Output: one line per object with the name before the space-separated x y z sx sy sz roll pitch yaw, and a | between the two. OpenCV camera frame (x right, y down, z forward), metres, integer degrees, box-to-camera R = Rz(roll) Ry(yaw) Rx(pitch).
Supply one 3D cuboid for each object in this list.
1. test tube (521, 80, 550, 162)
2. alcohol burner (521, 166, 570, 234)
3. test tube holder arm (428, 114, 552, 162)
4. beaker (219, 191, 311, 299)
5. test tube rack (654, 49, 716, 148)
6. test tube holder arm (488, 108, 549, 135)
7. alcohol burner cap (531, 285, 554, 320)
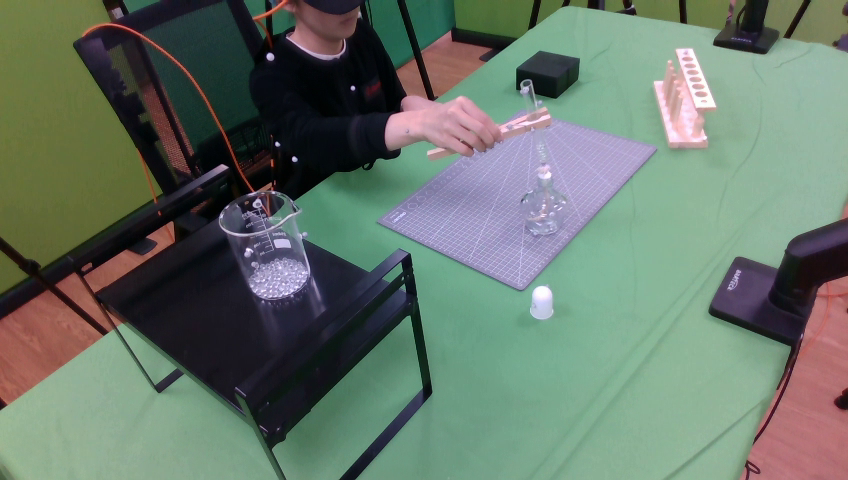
test tube | 0.158 -0.163 0.848 0.017 0.151 0.017 -11 52 15
alcohol burner | 0.192 -0.068 0.951 0.078 0.119 0.077 -4 43 4
test tube holder arm | 0.091 -0.143 0.851 0.178 0.015 0.013 -17 46 9
beaker | -0.164 0.008 0.654 0.084 0.101 0.073 -10 41 -3
test tube rack | 0.502 -0.281 1.176 0.066 0.085 0.241 2 41 11
test tube holder arm | 0.133 -0.162 0.849 0.088 0.015 0.010 -23 46 4
alcohol burner cap | 0.164 0.084 0.838 0.034 0.048 0.033 -4 40 4
